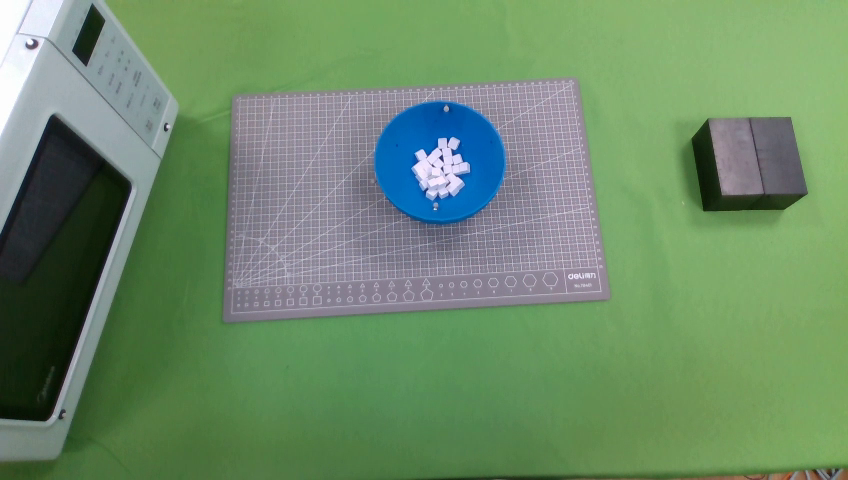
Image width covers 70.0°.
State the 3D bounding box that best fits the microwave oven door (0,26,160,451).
[{"bbox_3d":[-0.372,0.018,0.578,0.039,0.245,0.354,10,73,4],"label":"microwave oven door"}]

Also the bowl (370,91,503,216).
[{"bbox_3d":[0.015,-0.089,0.712,0.151,0.077,0.150,0,73,0],"label":"bowl"}]

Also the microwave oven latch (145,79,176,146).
[{"bbox_3d":[-0.328,-0.157,0.738,0.030,0.029,0.079,11,74,3],"label":"microwave oven latch"}]

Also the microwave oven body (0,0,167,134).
[{"bbox_3d":[-0.507,-0.046,0.603,0.326,0.261,0.439,10,74,3],"label":"microwave oven body"}]
